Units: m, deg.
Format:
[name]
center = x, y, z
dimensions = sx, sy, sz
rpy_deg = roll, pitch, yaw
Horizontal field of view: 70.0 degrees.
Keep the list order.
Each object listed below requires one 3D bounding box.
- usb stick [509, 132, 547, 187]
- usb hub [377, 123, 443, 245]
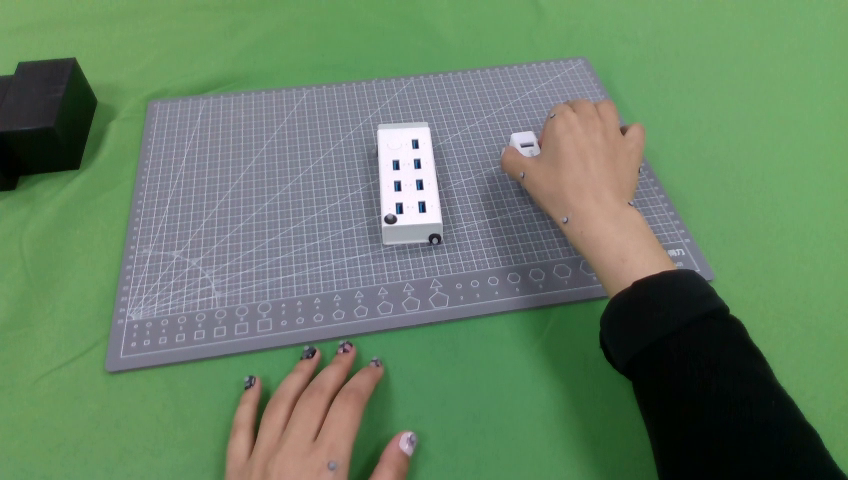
[usb stick]
center = 0.090, -0.076, 0.536
dimensions = 0.021, 0.027, 0.058
rpy_deg = -8, 48, -6
[usb hub]
center = -0.014, -0.051, 0.516
dimensions = 0.049, 0.025, 0.124
rpy_deg = -3, 51, -3
